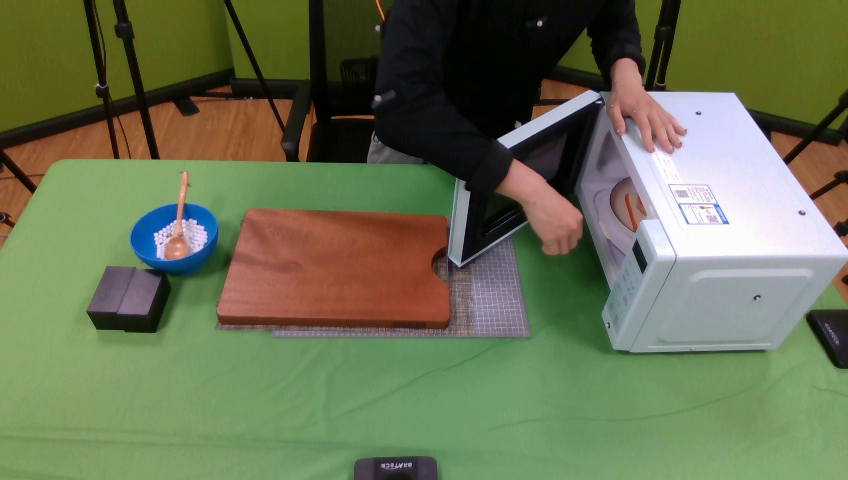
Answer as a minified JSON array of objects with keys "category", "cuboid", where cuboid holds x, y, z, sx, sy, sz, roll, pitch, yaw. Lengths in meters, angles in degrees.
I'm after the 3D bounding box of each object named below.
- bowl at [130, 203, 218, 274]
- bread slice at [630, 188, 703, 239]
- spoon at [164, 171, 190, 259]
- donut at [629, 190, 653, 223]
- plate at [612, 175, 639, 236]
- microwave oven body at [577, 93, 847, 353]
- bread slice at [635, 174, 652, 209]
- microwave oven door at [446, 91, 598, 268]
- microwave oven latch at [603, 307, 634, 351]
[{"category":"bowl","cuboid":[-0.451,0.009,1.116,0.151,0.077,0.150,3,45,-2]},{"category":"bread slice","cuboid":[0.479,-0.052,1.189,0.131,0.019,0.104,19,47,13]},{"category":"spoon","cuboid":[-0.452,-0.046,1.129,0.041,0.022,0.193,-1,69,-3]},{"category":"donut","cuboid":[0.444,-0.059,1.164,0.099,0.048,0.098,1,50,-1]},{"category":"plate","cuboid":[0.472,-0.054,1.189,0.208,0.039,0.206,-1,45,1]},{"category":"microwave oven body","cuboid":[0.475,-0.041,1.109,0.326,0.261,0.438,-1,45,-4]},{"category":"bread slice","cuboid":[0.466,-0.085,1.136,0.134,0.018,0.106,9,43,-10]},{"category":"microwave oven door","cuboid":[0.191,-0.120,1.157,0.356,0.245,0.039,-31,55,-30]},{"category":"microwave oven latch","cuboid":[0.332,0.153,1.044,0.030,0.029,0.078,0,45,-3]}]
